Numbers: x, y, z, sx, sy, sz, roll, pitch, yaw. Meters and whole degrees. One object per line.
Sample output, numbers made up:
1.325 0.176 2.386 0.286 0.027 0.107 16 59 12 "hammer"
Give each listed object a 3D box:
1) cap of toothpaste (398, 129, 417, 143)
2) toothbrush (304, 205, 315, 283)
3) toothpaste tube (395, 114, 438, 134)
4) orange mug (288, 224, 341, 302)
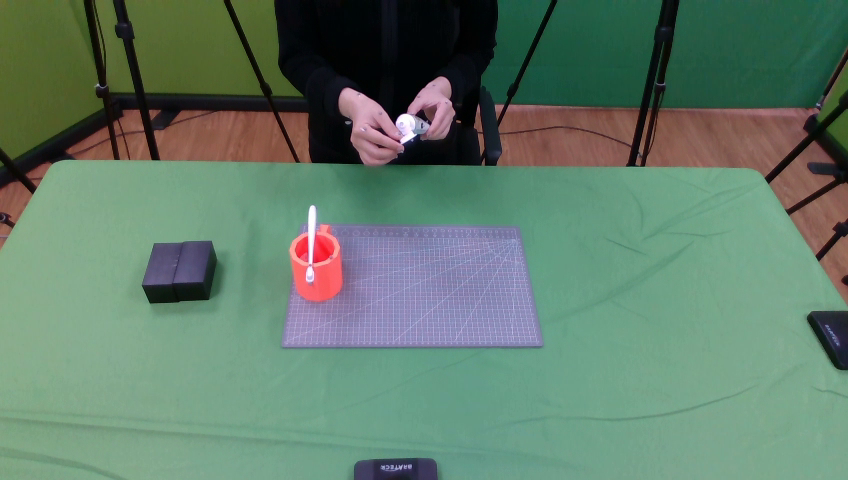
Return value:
-0.029 -0.173 1.003 0.037 0.037 0.011 -43 106 -36 "cap of toothpaste"
-0.199 0.001 1.052 0.014 0.017 0.180 -4 46 -4 "toothbrush"
-0.014 -0.207 1.086 0.055 0.034 0.165 38 19 5 "toothpaste tube"
-0.192 0.034 1.094 0.083 0.101 0.125 7 50 2 "orange mug"
